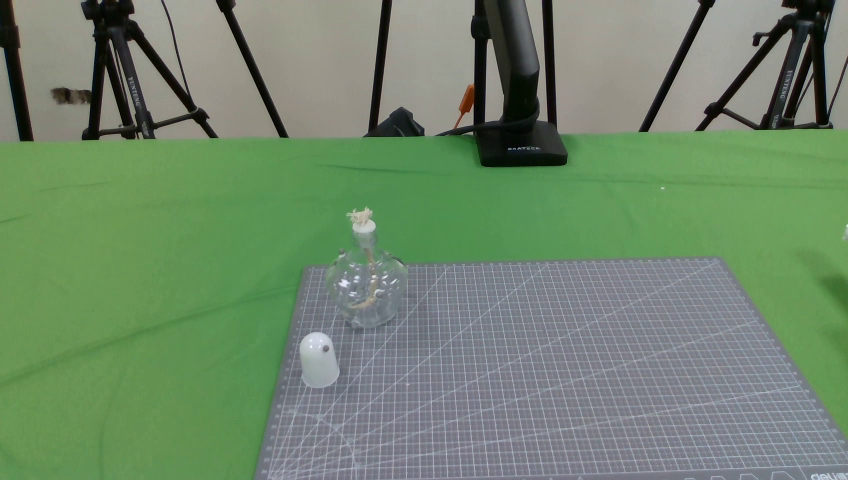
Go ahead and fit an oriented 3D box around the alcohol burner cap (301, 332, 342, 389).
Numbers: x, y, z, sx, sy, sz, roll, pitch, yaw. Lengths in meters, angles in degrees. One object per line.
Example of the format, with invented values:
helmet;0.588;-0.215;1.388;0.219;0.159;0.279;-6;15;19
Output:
alcohol burner cap;-0.088;0.098;0.511;0.034;0.048;0.033;0;36;0

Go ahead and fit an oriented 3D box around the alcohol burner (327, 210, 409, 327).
alcohol burner;-0.052;0.022;0.556;0.078;0.120;0.077;1;37;0

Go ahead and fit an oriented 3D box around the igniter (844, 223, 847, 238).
igniter;0.451;0.057;0.498;0.057;0.025;0.274;-3;31;-3
